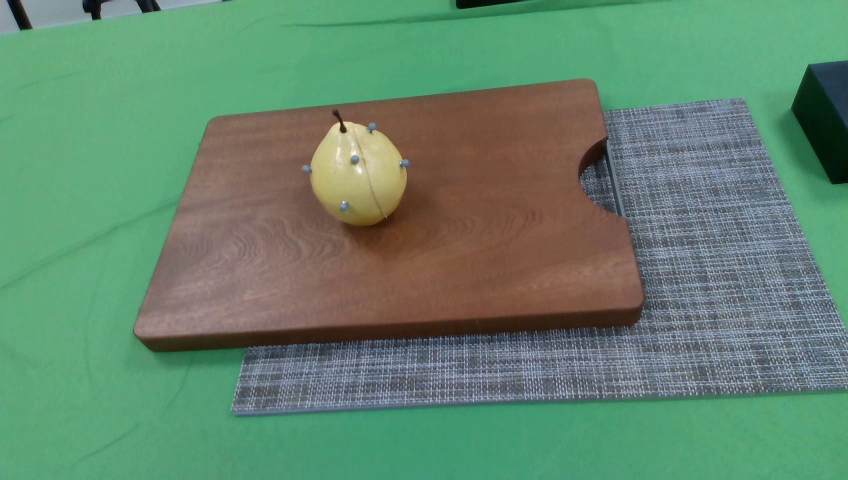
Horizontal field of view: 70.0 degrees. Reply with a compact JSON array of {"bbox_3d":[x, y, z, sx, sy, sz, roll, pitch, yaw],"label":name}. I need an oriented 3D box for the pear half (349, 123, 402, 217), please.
[{"bbox_3d":[-0.036,-0.062,0.499,0.031,0.089,0.069,-16,48,-3],"label":"pear half"}]

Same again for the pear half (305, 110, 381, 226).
[{"bbox_3d":[-0.072,-0.059,0.491,0.056,0.111,0.075,-17,48,-3],"label":"pear half"}]
